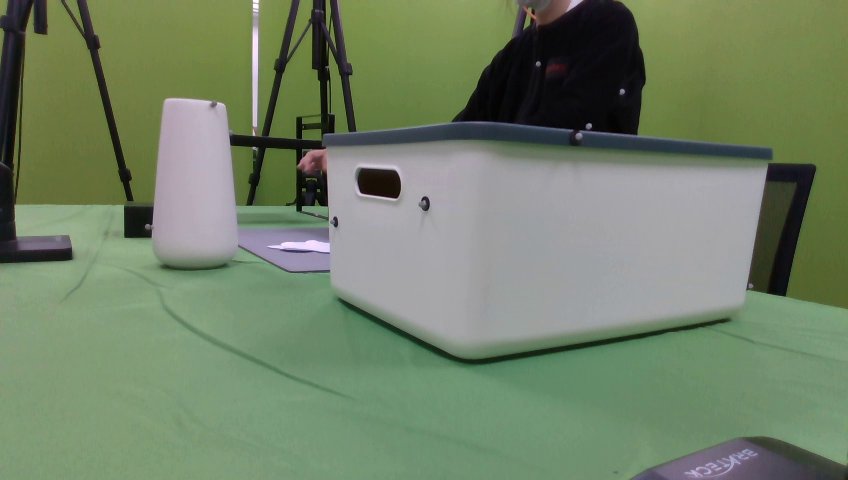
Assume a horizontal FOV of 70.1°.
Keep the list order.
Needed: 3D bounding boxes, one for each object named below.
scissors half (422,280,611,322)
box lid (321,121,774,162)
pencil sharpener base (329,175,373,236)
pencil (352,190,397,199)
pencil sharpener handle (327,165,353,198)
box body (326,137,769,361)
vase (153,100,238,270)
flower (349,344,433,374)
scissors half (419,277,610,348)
[{"bbox_3d":[0.073,0.057,0.524,0.174,0.040,0.013,5,39,30],"label":"scissors half"},{"bbox_3d":[0.114,-0.085,0.573,0.373,0.015,0.262,-2,7,-33],"label":"box lid"},{"bbox_3d":[-0.137,-0.065,1.122,0.061,0.107,0.076,-2,8,-26],"label":"pencil sharpener base"},{"bbox_3d":[-0.089,-0.079,1.024,0.012,0.012,0.193,-1,6,-27],"label":"pencil"},{"bbox_3d":[-0.164,-0.113,1.158,0.036,0.068,0.030,-31,20,-20],"label":"pencil sharpener handle"},{"bbox_3d":[0.112,-0.010,0.583,0.366,0.160,0.253,-2,9,-33],"label":"box body"},{"bbox_3d":[-0.278,-0.066,0.736,0.098,0.200,0.098,2,9,0],"label":"vase"},{"bbox_3d":[0.103,0.072,0.592,0.362,0.044,0.038,-17,44,-9],"label":"flower"},{"bbox_3d":[0.076,0.067,0.533,0.174,0.040,0.013,14,50,24],"label":"scissors half"}]
